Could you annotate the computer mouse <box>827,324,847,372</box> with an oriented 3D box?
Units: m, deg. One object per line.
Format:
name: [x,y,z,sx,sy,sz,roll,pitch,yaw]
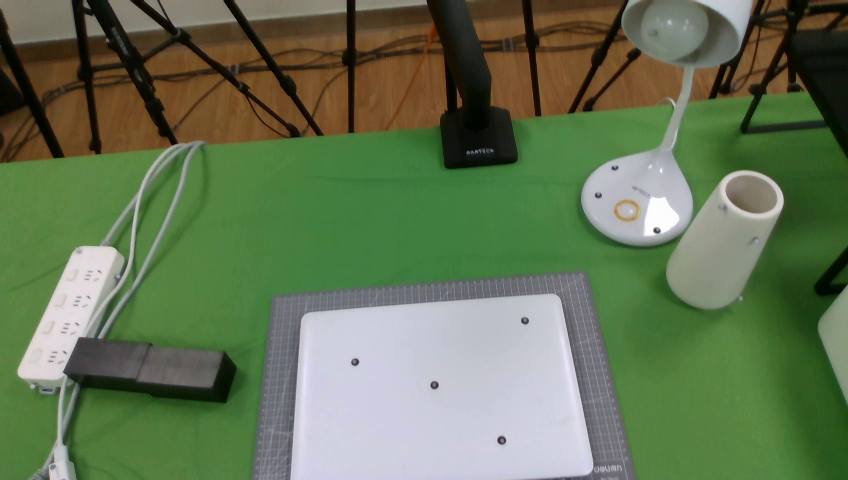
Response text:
computer mouse: [0.546,0.149,0.730,0.063,0.041,0.116,-10,49,3]

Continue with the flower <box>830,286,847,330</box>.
flower: [0.547,0.218,0.668,0.038,0.044,0.358,-32,58,37]

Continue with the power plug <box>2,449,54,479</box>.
power plug: [-0.481,0.290,0.727,0.052,0.035,0.072,-14,16,21]

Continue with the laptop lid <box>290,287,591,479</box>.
laptop lid: [0.012,0.175,0.755,0.357,0.013,0.239,-3,59,2]

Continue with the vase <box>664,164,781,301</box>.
vase: [0.368,-0.005,0.756,0.098,0.202,0.097,-3,55,4]

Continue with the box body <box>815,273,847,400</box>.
box body: [0.621,0.184,0.635,0.254,0.162,0.360,-4,56,2]

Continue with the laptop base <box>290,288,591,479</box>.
laptop base: [0.013,0.179,0.766,0.354,0.023,0.233,-5,60,1]

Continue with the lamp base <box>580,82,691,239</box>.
lamp base: [0.316,-0.121,0.848,0.159,0.182,0.178,25,59,19]

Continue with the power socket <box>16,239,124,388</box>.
power socket: [-0.490,0.094,0.848,0.072,0.033,0.224,2,56,5]

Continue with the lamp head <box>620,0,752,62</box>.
lamp head: [0.260,-0.247,0.575,0.112,0.113,0.122,22,78,18]

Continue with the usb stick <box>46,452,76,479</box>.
usb stick: [-0.429,0.285,0.719,0.021,0.027,0.058,-20,65,-18]
